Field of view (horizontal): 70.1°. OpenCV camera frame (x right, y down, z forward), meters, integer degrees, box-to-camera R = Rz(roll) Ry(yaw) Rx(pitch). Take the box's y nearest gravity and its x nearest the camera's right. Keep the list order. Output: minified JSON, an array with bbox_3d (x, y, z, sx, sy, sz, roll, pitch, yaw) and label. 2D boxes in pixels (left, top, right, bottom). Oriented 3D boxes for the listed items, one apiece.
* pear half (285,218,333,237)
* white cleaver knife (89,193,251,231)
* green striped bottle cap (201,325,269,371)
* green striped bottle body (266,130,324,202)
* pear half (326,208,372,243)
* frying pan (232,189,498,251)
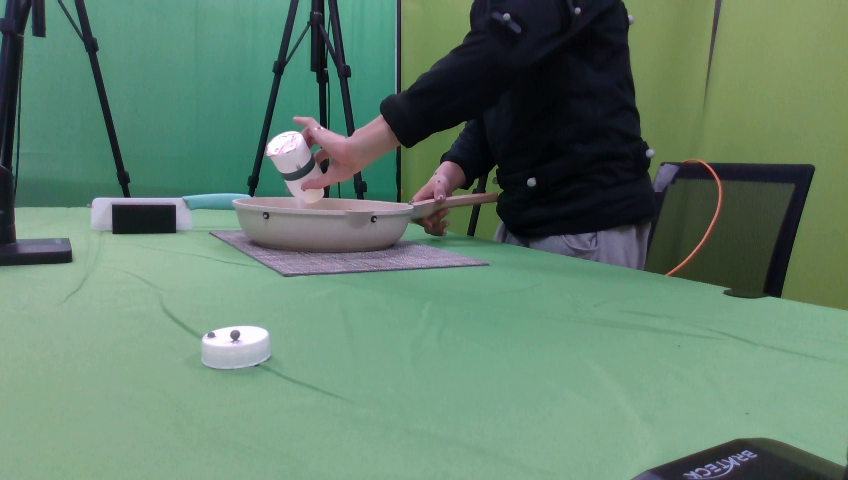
[{"bbox_3d":[-0.198,-0.023,1.054,0.088,0.031,0.070,-10,19,-43],"label":"pear half"},{"bbox_3d":[-0.454,-0.052,1.115,0.288,0.066,0.021,-4,14,-27],"label":"white cleaver knife"},{"bbox_3d":[-0.129,0.073,0.415,0.044,0.020,0.044,2,8,0],"label":"green striped bottle cap"},{"bbox_3d":[-0.210,-0.119,1.013,0.063,0.119,0.063,-11,46,12],"label":"green striped bottle body"},{"bbox_3d":[-0.128,-0.026,1.017,0.076,0.056,0.109,5,3,-19],"label":"pear half"},{"bbox_3d":[-0.073,-0.051,1.048,0.490,0.102,0.305,-11,13,-27],"label":"frying pan"}]
